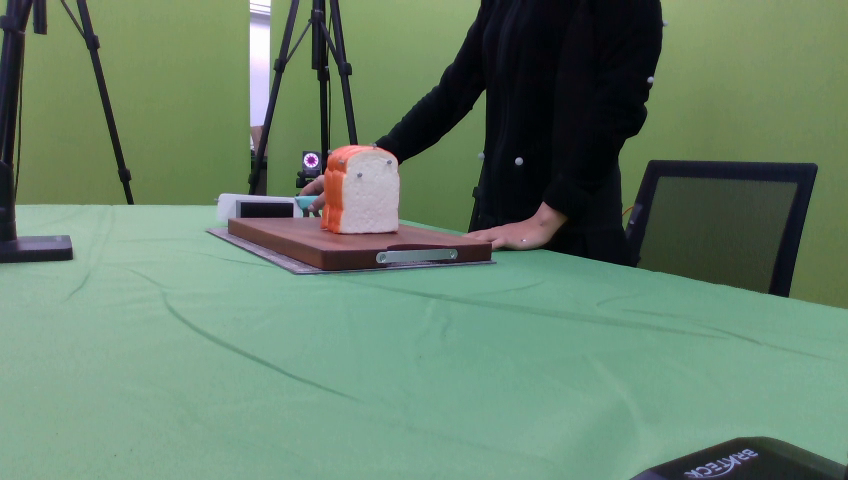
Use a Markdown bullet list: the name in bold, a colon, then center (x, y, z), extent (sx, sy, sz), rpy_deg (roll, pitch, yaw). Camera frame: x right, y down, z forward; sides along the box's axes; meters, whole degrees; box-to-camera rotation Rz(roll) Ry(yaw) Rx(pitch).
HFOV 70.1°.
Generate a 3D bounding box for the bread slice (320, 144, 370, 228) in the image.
- **bread slice**: center (-0.106, -0.083, 0.952), extent (0.107, 0.134, 0.018), rpy_deg (2, 6, -32)

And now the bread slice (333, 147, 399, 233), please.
- **bread slice**: center (-0.084, -0.074, 0.908), extent (0.105, 0.131, 0.019), rpy_deg (-4, 14, -31)

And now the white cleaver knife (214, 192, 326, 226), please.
- **white cleaver knife**: center (-0.278, -0.062, 1.236), extent (0.288, 0.066, 0.021), rpy_deg (0, 13, -25)
